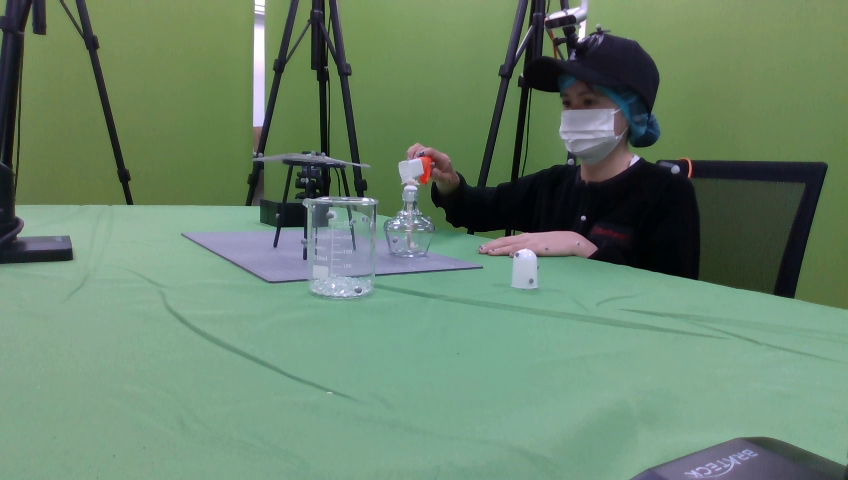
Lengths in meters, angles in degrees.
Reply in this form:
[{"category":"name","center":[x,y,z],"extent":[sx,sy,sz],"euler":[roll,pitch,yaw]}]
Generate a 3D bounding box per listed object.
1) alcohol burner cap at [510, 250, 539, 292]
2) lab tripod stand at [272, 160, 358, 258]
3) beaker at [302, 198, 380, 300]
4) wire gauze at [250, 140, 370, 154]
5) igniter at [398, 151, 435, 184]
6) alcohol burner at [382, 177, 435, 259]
[{"category":"alcohol burner cap","center":[0.118,0.036,0.704],"extent":[0.034,0.048,0.034],"euler":[0,6,0]},{"category":"lab tripod stand","center":[-0.159,-0.048,0.876],"extent":[0.148,0.131,0.148],"euler":[3,5,0]},{"category":"beaker","center":[-0.089,0.007,0.625],"extent":[0.084,0.100,0.074],"euler":[4,7,16]},{"category":"wire gauze","center":[-0.163,-0.131,0.867],"extent":[0.124,0.011,0.122],"euler":[-1,8,32]},{"category":"igniter","center":[-0.009,-0.123,1.033],"extent":[0.025,0.057,0.277],"euler":[-10,7,9]},{"category":"alcohol burner","center":[-0.023,-0.033,0.890],"extent":[0.078,0.119,0.078],"euler":[1,6,0]}]
